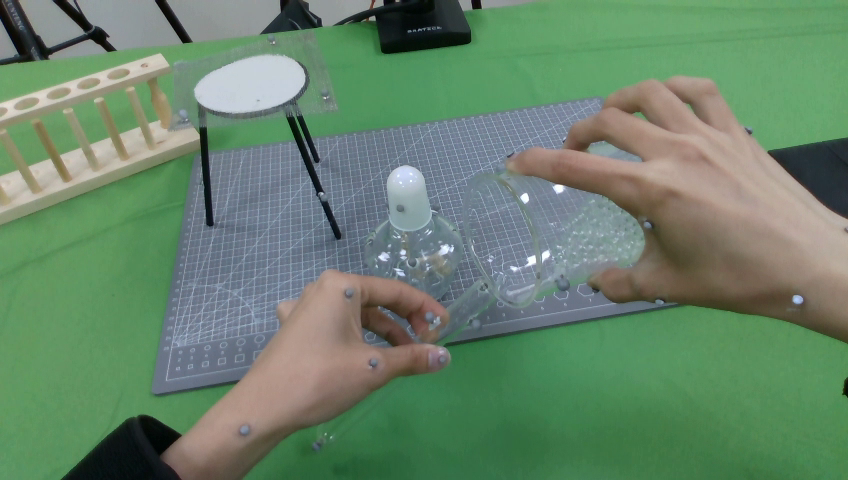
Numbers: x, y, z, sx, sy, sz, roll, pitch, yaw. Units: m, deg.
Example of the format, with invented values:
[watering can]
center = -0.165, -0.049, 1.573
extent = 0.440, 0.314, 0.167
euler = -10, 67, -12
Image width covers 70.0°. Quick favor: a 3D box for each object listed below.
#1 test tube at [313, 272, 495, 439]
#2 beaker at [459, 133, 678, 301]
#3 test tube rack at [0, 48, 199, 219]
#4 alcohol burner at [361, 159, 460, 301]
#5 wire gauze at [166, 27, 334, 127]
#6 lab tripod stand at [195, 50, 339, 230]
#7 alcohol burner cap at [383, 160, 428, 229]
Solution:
[test tube]
center = -0.016, 0.073, 0.367
extent = 0.150, 0.017, 0.017
euler = -44, 46, 14
[beaker]
center = 0.081, -0.014, 0.337
extent = 0.100, 0.084, 0.073
euler = -18, 54, -21
[test tube rack]
center = -0.361, -0.103, 0.604
extent = 0.242, 0.086, 0.066
euler = -27, 49, -21
[alcohol burner]
center = -0.011, -0.010, 0.461
extent = 0.078, 0.120, 0.077
euler = -2, 43, 2
[wire gauze]
center = -0.142, -0.130, 0.481
extent = 0.125, 0.011, 0.120
euler = -13, 46, -8
[lab tripod stand]
center = -0.137, -0.083, 0.529
extent = 0.148, 0.133, 0.147
euler = -2, 47, 3
[alcohol burner cap]
center = -0.015, -0.035, 0.435
extent = 0.034, 0.048, 0.033
euler = -3, 47, 4
